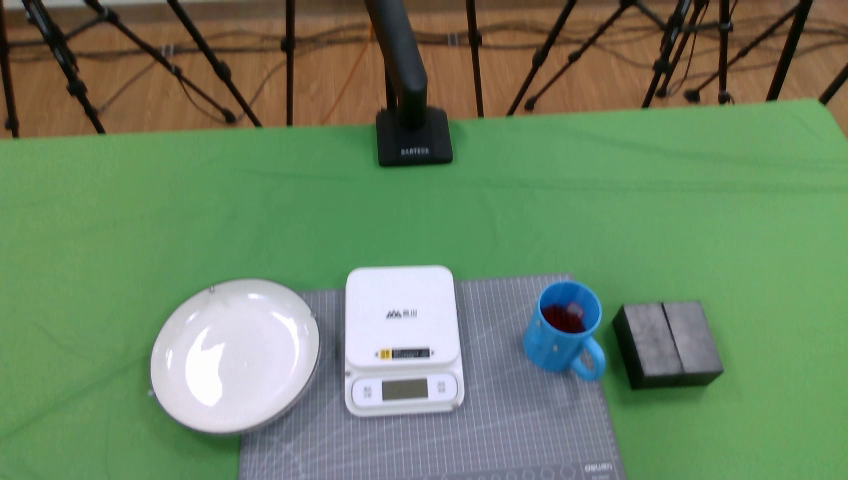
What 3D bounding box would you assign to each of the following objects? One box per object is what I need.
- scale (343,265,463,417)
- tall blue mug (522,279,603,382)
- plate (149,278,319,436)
[{"bbox_3d":[-0.031,0.125,0.789,0.149,0.032,0.199,-2,58,-3],"label":"scale"},{"bbox_3d":[0.182,0.117,0.757,0.106,0.109,0.077,28,60,15],"label":"tall blue mug"},{"bbox_3d":[-0.234,0.146,0.765,0.209,0.038,0.207,0,57,0],"label":"plate"}]
